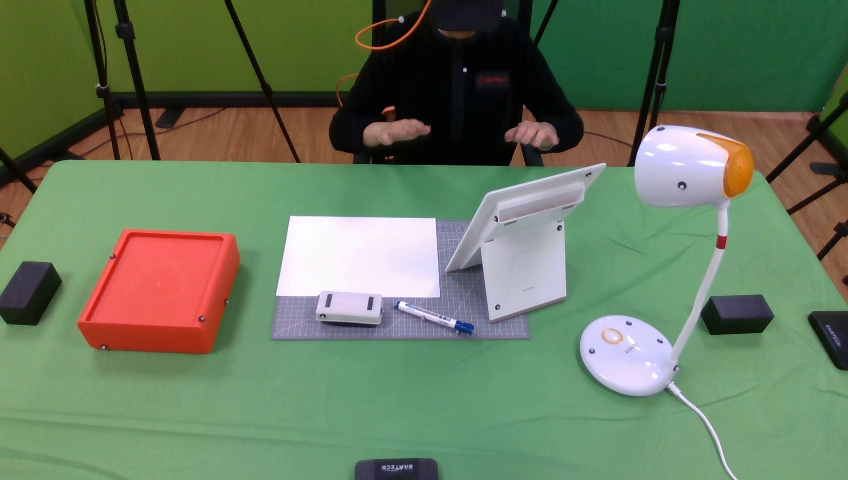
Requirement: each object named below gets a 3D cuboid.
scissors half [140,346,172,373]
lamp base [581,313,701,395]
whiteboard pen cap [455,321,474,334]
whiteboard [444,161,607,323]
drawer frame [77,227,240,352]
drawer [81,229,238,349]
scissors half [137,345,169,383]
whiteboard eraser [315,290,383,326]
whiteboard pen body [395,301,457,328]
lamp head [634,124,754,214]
[{"bbox_3d":[-0.475,0.164,0.987,0.175,0.040,0.013,36,52,9],"label":"scissors half"},{"bbox_3d":[0.361,0.144,0.972,0.178,0.181,0.160,34,53,23],"label":"lamp base"},{"bbox_3d":[0.069,0.151,1.046,0.033,0.018,0.018,14,47,16],"label":"whiteboard pen cap"},{"bbox_3d":[0.186,0.025,1.029,0.217,0.306,0.143,-14,68,-18],"label":"whiteboard"},{"bbox_3d":[-0.444,0.081,1.043,0.202,0.083,0.212,3,47,-3],"label":"drawer frame"},{"bbox_3d":[-0.445,0.080,1.046,0.194,0.073,0.210,3,47,-2],"label":"drawer"},{"bbox_3d":[-0.479,0.171,0.997,0.175,0.040,0.013,48,47,-3],"label":"scissors half"},{"bbox_3d":[-0.130,0.120,1.054,0.113,0.042,0.055,4,47,0],"label":"whiteboard eraser"},{"bbox_3d":[0.015,0.134,1.064,0.140,0.017,0.017,17,47,16],"label":"whiteboard pen body"},{"bbox_3d":[0.351,-0.089,0.775,0.112,0.113,0.122,-30,30,-28],"label":"lamp head"}]
